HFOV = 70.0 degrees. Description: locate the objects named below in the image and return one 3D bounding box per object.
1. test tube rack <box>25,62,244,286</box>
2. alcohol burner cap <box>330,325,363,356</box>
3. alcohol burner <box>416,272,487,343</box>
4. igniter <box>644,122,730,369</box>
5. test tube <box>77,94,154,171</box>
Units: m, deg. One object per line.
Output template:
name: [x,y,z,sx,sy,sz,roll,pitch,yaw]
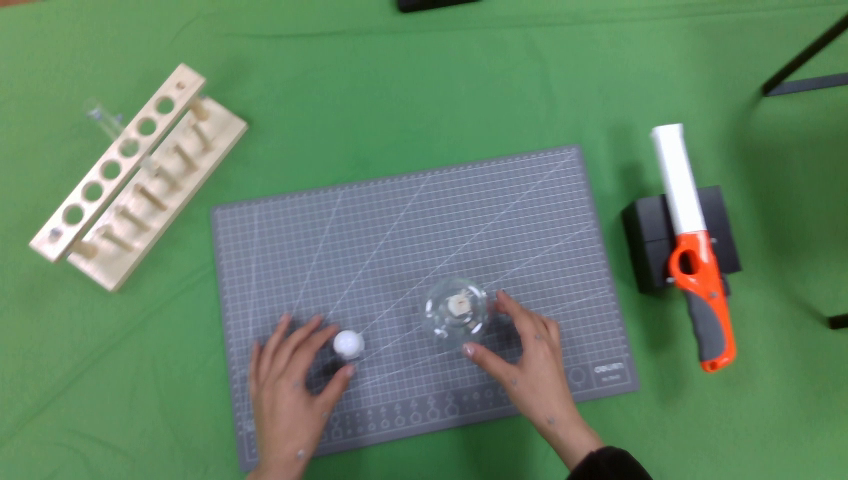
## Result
test tube rack: [-0.311,-0.071,0.674,0.066,0.085,0.242,34,79,5]
alcohol burner cap: [-0.087,0.109,0.666,0.034,0.048,0.033,-1,76,3]
alcohol burner: [0.031,0.069,0.642,0.078,0.119,0.077,1,76,-3]
igniter: [0.287,0.001,0.666,0.057,0.025,0.275,-8,76,-1]
test tube: [-0.315,-0.108,0.632,0.017,0.151,0.017,0,73,-1]
